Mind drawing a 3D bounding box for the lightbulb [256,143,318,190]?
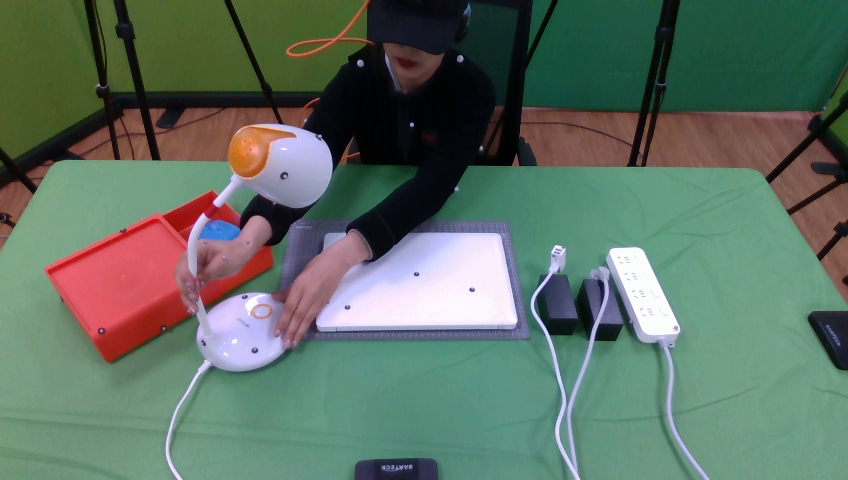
[{"bbox_3d":[-0.188,-0.104,0.823,0.059,0.108,0.059,-6,76,24],"label":"lightbulb"}]

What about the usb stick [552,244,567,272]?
[{"bbox_3d":[0.251,0.039,1.124,0.021,0.059,0.027,14,48,25],"label":"usb stick"}]

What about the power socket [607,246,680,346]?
[{"bbox_3d":[0.403,0.096,1.123,0.072,0.033,0.225,-2,46,-5],"label":"power socket"}]

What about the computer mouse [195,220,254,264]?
[{"bbox_3d":[-0.381,-0.002,1.153,0.116,0.041,0.063,29,51,27],"label":"computer mouse"}]

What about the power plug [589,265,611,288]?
[{"bbox_3d":[0.318,0.073,1.108,0.035,0.053,0.072,26,33,13],"label":"power plug"}]

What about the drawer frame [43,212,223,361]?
[{"bbox_3d":[-0.497,0.073,1.049,0.213,0.083,0.200,-34,57,-31],"label":"drawer frame"}]

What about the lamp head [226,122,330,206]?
[{"bbox_3d":[-0.205,-0.105,0.804,0.112,0.112,0.123,32,13,25],"label":"lamp head"}]

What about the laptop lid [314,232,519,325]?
[{"bbox_3d":[-0.015,0.065,1.118,0.357,0.013,0.240,1,43,-3],"label":"laptop lid"}]

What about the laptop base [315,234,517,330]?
[{"bbox_3d":[-0.016,0.074,1.124,0.355,0.023,0.234,0,42,-4],"label":"laptop base"}]

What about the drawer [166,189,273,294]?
[{"bbox_3d":[-0.419,0.022,1.108,0.193,0.073,0.211,38,55,27],"label":"drawer"}]

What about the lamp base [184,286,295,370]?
[{"bbox_3d":[-0.305,0.104,0.961,0.160,0.181,0.179,23,52,21],"label":"lamp base"}]
